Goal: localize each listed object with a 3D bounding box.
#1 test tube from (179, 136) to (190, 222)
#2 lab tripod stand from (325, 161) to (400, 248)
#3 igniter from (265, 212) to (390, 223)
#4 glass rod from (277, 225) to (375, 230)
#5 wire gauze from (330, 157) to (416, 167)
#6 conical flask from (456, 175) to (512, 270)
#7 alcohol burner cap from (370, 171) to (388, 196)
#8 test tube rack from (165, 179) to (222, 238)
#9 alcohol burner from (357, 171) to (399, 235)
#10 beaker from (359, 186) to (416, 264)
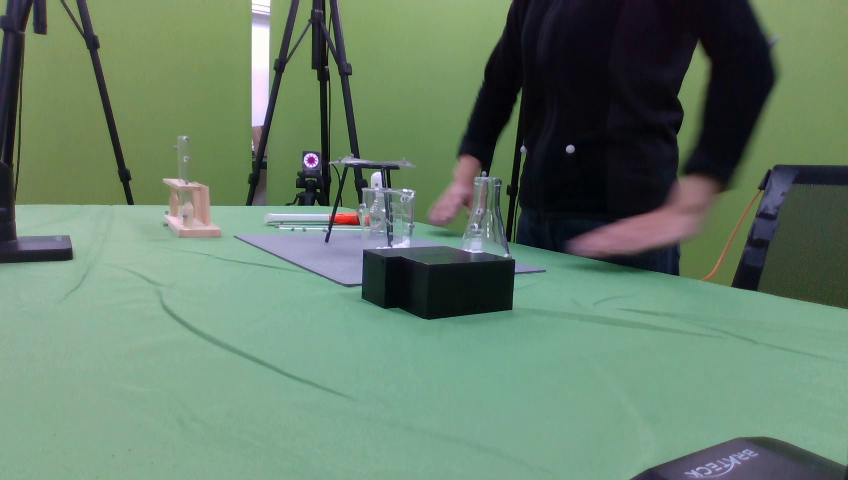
[{"bbox_3d":[-0.416,-0.105,1.052,0.017,0.150,0.017,0,4,0],"label":"test tube"},{"bbox_3d":[-0.083,-0.060,0.977,0.148,0.131,0.148,4,8,0],"label":"lab tripod stand"},{"bbox_3d":[-0.196,-0.048,1.285,0.278,0.025,0.057,-2,-2,-30],"label":"igniter"},{"bbox_3d":[-0.187,-0.024,1.178,0.201,0.008,0.008,1,6,-31],"label":"glass rod"},{"bbox_3d":[-0.079,-0.126,0.972,0.121,0.011,0.125,4,8,5],"label":"wire gauze"},{"bbox_3d":[0.082,-0.025,0.801,0.075,0.122,0.075,2,7,0],"label":"conical flask"},{"bbox_3d":[-0.085,-0.104,1.120,0.034,0.048,0.034,-4,8,1],"label":"alcohol burner cap"},{"bbox_3d":[-0.423,-0.062,1.098,0.067,0.085,0.241,-2,9,-28],"label":"test tube rack"},{"bbox_3d":[-0.085,-0.069,1.125,0.078,0.119,0.078,3,10,0],"label":"alcohol burner"},{"bbox_3d":[-0.048,-0.020,0.817,0.083,0.100,0.074,10,10,41],"label":"beaker"}]
